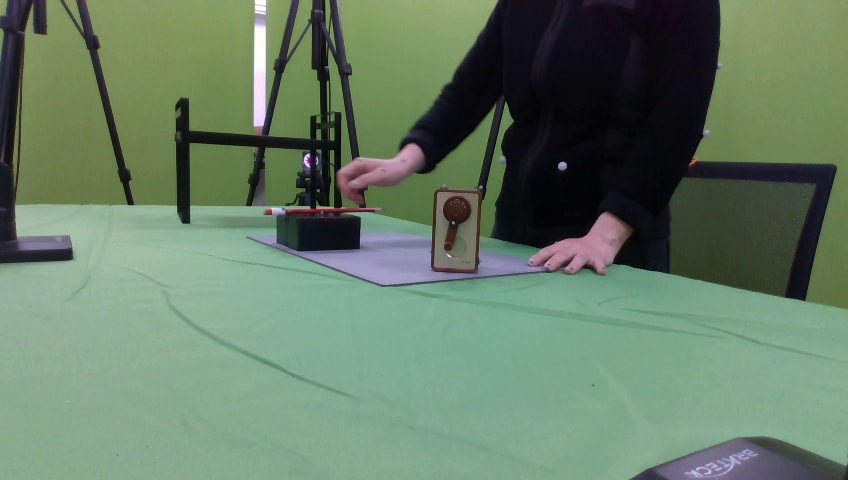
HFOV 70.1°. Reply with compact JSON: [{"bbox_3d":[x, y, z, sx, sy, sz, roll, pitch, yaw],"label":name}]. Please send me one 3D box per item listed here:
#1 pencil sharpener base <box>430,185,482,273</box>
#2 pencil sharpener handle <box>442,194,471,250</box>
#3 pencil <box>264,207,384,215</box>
[{"bbox_3d":[0.042,-0.015,0.783,0.061,0.107,0.077,3,8,4],"label":"pencil sharpener base"},{"bbox_3d":[0.036,-0.021,0.731,0.036,0.067,0.030,11,8,3],"label":"pencil sharpener handle"},{"bbox_3d":[-0.152,-0.047,0.946,0.195,0.012,0.012,-3,9,-27],"label":"pencil"}]
